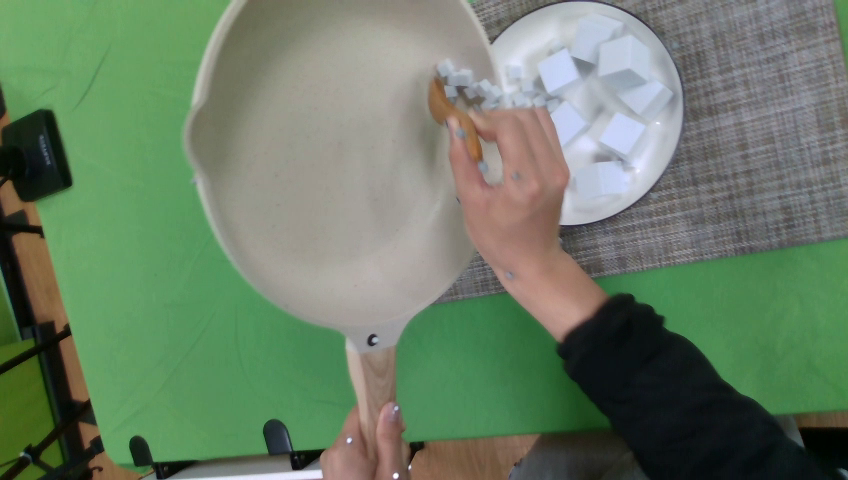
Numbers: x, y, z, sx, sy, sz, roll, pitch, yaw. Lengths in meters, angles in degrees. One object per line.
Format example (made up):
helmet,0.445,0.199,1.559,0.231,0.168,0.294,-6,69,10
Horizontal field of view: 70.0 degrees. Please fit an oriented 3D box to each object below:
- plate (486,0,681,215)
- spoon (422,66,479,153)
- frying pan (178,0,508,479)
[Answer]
plate,0.136,-0.129,0.582,0.206,0.039,0.208,4,101,23
spoon,0.019,-0.099,0.451,0.021,0.192,0.042,-15,115,-4
frying pan,-0.050,0.021,0.493,0.102,0.308,0.488,3,97,47
